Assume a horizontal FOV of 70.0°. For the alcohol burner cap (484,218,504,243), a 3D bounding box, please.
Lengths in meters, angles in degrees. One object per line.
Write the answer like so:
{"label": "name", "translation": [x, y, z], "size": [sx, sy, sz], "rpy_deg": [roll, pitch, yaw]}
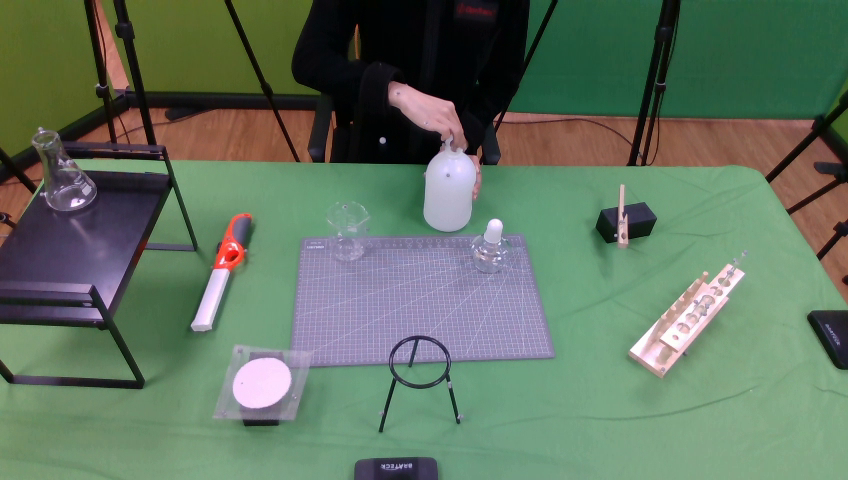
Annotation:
{"label": "alcohol burner cap", "translation": [0.130, -0.021, 1.106], "size": [0.034, 0.048, 0.033], "rpy_deg": [3, 51, -4]}

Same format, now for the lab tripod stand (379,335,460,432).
{"label": "lab tripod stand", "translation": [-0.011, 0.214, 0.911], "size": [0.148, 0.132, 0.147], "rpy_deg": [1, 45, 0]}

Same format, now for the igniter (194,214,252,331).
{"label": "igniter", "translation": [-0.367, 0.050, 1.119], "size": [0.057, 0.025, 0.275], "rpy_deg": [-4, 46, 7]}

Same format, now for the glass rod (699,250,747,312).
{"label": "glass rod", "translation": [0.500, 0.075, 1.021], "size": [0.008, 0.201, 0.008], "rpy_deg": [0, 55, 1]}

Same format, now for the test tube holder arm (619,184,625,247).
{"label": "test tube holder arm", "translation": [0.396, -0.052, 1.210], "size": [0.013, 0.015, 0.177], "rpy_deg": [14, 46, 2]}

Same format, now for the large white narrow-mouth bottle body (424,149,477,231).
{"label": "large white narrow-mouth bottle body", "translation": [0.054, -0.115, 1.191], "size": [0.102, 0.195, 0.101], "rpy_deg": [2, 46, -2]}

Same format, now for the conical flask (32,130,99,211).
{"label": "conical flask", "translation": [-0.565, -0.111, 0.944], "size": [0.075, 0.122, 0.075], "rpy_deg": [2, 46, -2]}

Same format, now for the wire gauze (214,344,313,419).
{"label": "wire gauze", "translation": [-0.241, 0.213, 0.916], "size": [0.121, 0.011, 0.124], "rpy_deg": [5, 46, 1]}

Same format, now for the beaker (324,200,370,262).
{"label": "beaker", "translation": [-0.143, -0.015, 1.142], "size": [0.084, 0.101, 0.073], "rpy_deg": [1, 46, -4]}

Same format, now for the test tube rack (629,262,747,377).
{"label": "test tube rack", "translation": [0.464, 0.126, 1.060], "size": [0.242, 0.085, 0.066], "rpy_deg": [-34, 56, -31]}

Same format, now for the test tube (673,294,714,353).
{"label": "test tube", "translation": [0.428, 0.137, 0.978], "size": [0.017, 0.151, 0.017], "rpy_deg": [4, 47, -4]}

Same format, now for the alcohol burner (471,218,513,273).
{"label": "alcohol burner", "translation": [0.128, 0.005, 1.132], "size": [0.078, 0.120, 0.077], "rpy_deg": [0, 47, 0]}

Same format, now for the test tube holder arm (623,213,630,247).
{"label": "test tube holder arm", "translation": [0.393, -0.020, 1.179], "size": [0.010, 0.015, 0.087], "rpy_deg": [13, 46, 1]}

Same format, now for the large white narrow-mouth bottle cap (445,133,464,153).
{"label": "large white narrow-mouth bottle cap", "translation": [0.058, -0.180, 1.122], "size": [0.038, 0.024, 0.037], "rpy_deg": [2, 46, -2]}
